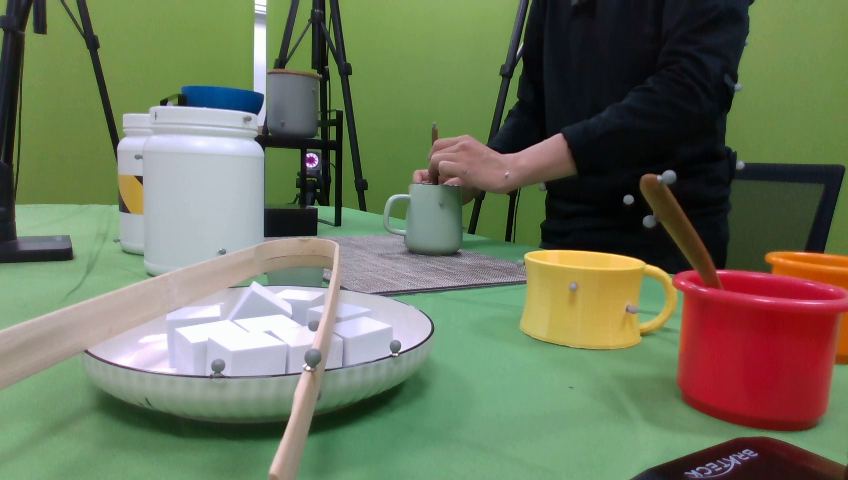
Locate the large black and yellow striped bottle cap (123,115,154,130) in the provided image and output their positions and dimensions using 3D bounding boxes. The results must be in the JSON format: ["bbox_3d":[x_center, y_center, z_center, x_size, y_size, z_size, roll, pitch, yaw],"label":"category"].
[{"bbox_3d":[-0.353,-0.159,0.838,0.115,0.019,0.115,2,6,0],"label":"large black and yellow striped bottle cap"}]

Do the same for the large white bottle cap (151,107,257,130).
[{"bbox_3d":[-0.250,-0.138,0.692,0.115,0.018,0.115,3,7,0],"label":"large white bottle cap"}]

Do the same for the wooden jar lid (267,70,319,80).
[{"bbox_3d":[-0.275,-0.339,1.271,0.108,0.020,0.108,5,6,0],"label":"wooden jar lid"}]

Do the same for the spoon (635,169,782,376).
[{"bbox_3d":[0.161,0.026,0.346,0.041,0.194,0.021,10,56,53],"label":"spoon"}]

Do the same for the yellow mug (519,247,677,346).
[{"bbox_3d":[0.148,0.045,0.513,0.131,0.064,0.100,3,6,0],"label":"yellow mug"}]

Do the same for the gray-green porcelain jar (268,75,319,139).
[{"bbox_3d":[-0.277,-0.279,1.280,0.106,0.126,0.106,2,8,0],"label":"gray-green porcelain jar"}]

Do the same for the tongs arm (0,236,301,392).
[{"bbox_3d":[-0.157,0.038,0.347,0.028,0.028,0.388,-3,8,11],"label":"tongs arm"}]

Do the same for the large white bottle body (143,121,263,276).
[{"bbox_3d":[-0.254,-0.054,0.702,0.131,0.184,0.130,2,8,0],"label":"large white bottle body"}]

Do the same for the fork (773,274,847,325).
[{"bbox_3d":[0.332,0.018,0.443,0.028,0.018,0.207,-1,-36,-14],"label":"fork"}]

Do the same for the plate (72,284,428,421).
[{"bbox_3d":[-0.102,0.067,0.381,0.208,0.039,0.207,3,7,0],"label":"plate"}]

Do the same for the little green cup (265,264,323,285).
[{"bbox_3d":[-0.134,0.033,0.627,0.061,0.038,0.061,3,7,0],"label":"little green cup"}]

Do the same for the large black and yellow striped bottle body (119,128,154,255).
[{"bbox_3d":[-0.355,-0.076,0.850,0.131,0.184,0.130,2,8,0],"label":"large black and yellow striped bottle body"}]

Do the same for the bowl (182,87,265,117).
[{"bbox_3d":[-0.383,-0.244,1.158,0.151,0.077,0.151,2,7,0],"label":"bowl"}]

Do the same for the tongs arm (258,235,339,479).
[{"bbox_3d":[-0.074,0.040,0.345,0.051,0.026,0.384,-1,10,-3],"label":"tongs arm"}]

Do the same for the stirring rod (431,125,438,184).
[{"bbox_3d":[0.017,-0.087,0.924,0.006,0.176,0.014,-5,7,-30],"label":"stirring rod"}]

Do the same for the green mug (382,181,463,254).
[{"bbox_3d":[-0.001,-0.036,0.922,0.126,0.105,0.092,0,8,-16],"label":"green mug"}]
